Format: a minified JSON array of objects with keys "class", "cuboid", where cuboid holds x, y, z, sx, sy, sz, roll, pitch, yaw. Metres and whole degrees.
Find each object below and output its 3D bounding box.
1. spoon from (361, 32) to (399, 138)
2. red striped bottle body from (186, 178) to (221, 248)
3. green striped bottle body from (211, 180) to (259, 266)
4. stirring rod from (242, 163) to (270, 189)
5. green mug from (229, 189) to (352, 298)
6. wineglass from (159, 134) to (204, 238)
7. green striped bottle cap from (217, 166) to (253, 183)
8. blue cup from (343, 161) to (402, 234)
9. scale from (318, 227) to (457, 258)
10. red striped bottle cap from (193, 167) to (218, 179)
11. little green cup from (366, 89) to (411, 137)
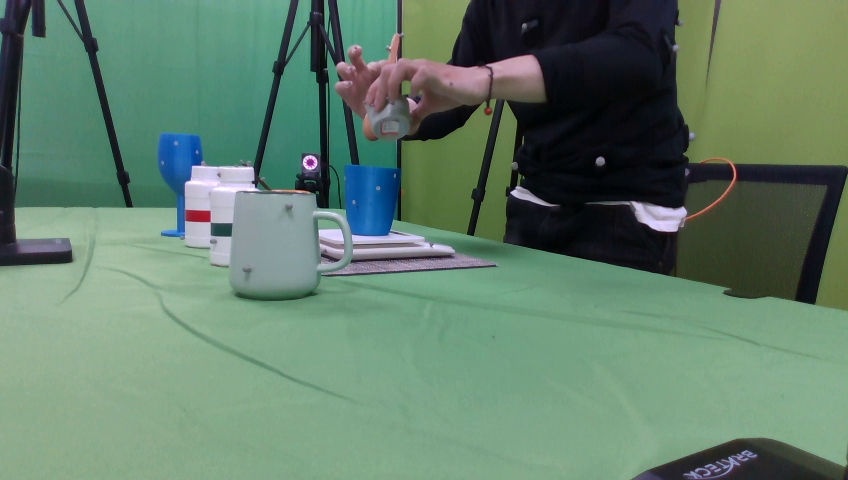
[{"class":"spoon","cuboid":[-0.062,-0.239,0.918,0.041,0.193,0.022,-4,-30,32]},{"class":"red striped bottle body","cuboid":[-0.331,-0.050,0.927,0.063,0.119,0.063,2,6,0]},{"class":"green striped bottle body","cuboid":[-0.243,-0.029,0.784,0.063,0.119,0.063,2,7,0]},{"class":"stirring rod","cuboid":[-0.298,-0.091,1.198,0.014,0.006,0.177,11,-31,45]},{"class":"green mug","cuboid":[-0.135,0.002,0.618,0.125,0.105,0.092,2,7,4]},{"class":"wineglass","cuboid":[-0.415,-0.093,1.040,0.074,0.172,0.073,2,7,0]},{"class":"green striped bottle cap","cuboid":[-0.242,-0.085,0.777,0.044,0.020,0.044,2,9,0]},{"class":"blue cup","cuboid":[-0.078,-0.062,0.884,0.093,0.100,0.092,4,6,0]},{"class":"scale","cuboid":[-0.066,0.001,0.906,0.202,0.031,0.148,-2,8,-31]},{"class":"red striped bottle cap","cuboid":[-0.329,-0.103,0.921,0.044,0.017,0.044,-1,9,0]},{"class":"little green cup","cuboid":[-0.047,-0.170,0.823,0.061,0.038,0.061,-8,-30,-4]}]
